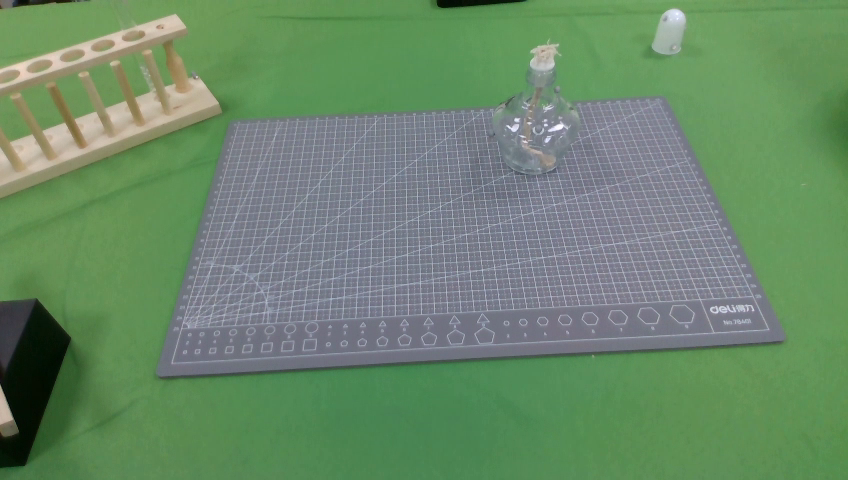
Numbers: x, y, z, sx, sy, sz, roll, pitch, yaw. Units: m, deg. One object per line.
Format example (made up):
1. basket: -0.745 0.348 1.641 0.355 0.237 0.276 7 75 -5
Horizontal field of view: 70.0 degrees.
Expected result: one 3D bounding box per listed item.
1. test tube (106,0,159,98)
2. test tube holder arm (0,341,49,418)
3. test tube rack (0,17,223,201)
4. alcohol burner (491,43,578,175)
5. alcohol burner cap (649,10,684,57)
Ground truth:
1. test tube: -0.286 -0.204 0.587 0.017 0.152 0.017 -3 46 4
2. test tube holder arm: -0.293 0.059 0.398 0.177 0.015 0.013 31 59 28
3. test tube rack: -0.333 -0.127 0.587 0.242 0.086 0.066 -28 52 -20
4. alcohol burner: 0.099 -0.117 0.532 0.078 0.120 0.077 -1 46 2
5. alcohol burner cap: 0.275 -0.233 0.679 0.034 0.048 0.033 -3 48 3
